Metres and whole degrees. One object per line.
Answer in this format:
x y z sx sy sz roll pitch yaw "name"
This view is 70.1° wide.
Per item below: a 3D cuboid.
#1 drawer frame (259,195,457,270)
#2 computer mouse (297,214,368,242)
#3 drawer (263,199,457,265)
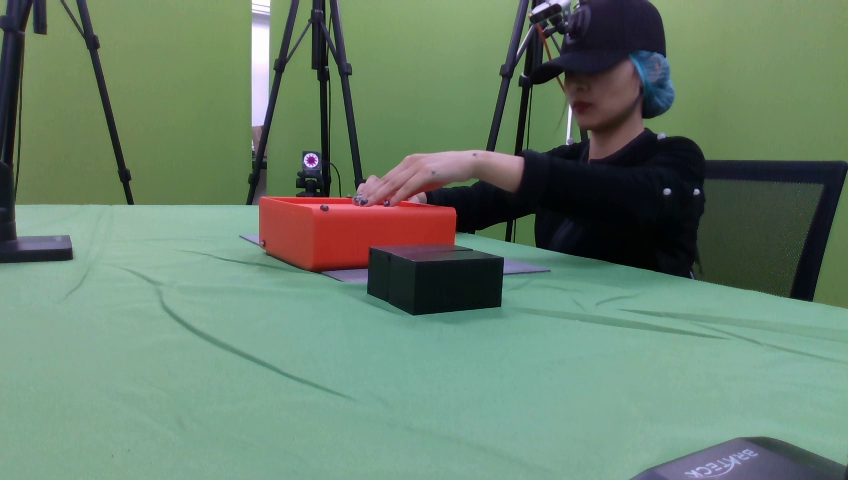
-0.095 -0.018 0.845 0.215 0.082 0.200 -3 10 -34 "drawer frame"
-0.155 -0.021 1.032 0.118 0.041 0.062 -9 15 -39 "computer mouse"
-0.093 -0.017 0.846 0.213 0.073 0.193 -3 10 -33 "drawer"
